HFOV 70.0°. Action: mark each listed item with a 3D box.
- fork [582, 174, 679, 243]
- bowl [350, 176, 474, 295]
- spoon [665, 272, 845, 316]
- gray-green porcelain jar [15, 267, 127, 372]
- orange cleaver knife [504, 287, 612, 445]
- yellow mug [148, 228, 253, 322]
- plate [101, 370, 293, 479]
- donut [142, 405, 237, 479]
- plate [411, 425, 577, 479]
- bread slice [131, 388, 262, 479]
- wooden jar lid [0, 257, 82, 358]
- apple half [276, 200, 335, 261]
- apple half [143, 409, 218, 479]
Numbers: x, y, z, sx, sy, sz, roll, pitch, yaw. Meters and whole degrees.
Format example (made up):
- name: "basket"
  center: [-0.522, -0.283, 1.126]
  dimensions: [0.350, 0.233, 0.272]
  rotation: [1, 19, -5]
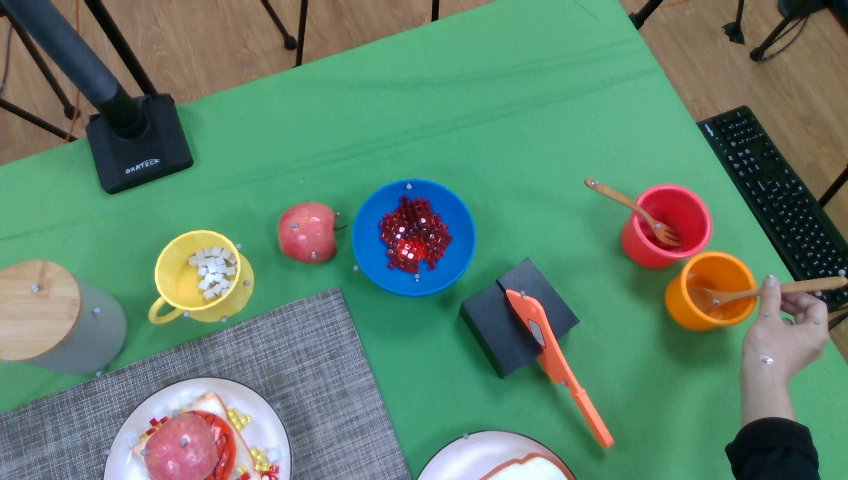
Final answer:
- name: "fork"
  center: [0.259, -0.037, 0.745]
  dimensions: [0.209, 0.018, 0.028]
  rotation: [25, 65, -38]
- name: "bowl"
  center: [-0.015, 0.004, 0.758]
  dimensions: [0.151, 0.077, 0.150]
  rotation: [1, 71, -1]
- name: "spoon"
  center: [0.380, 0.060, 0.711]
  dimensions: [0.022, 0.193, 0.041]
  rotation: [25, 61, -37]
- name: "gray-green porcelain jar"
  center: [-0.411, 0.092, 0.689]
  dimensions: [0.106, 0.127, 0.105]
  rotation: [1, 70, -2]
- name: "orange cleaver knife"
  center: [0.155, 0.146, 0.713]
  dimensions: [0.012, 0.077, 0.212]
  rotation: [-31, 96, -19]
- name: "yellow mug"
  center: [-0.279, 0.053, 0.739]
  dimensions: [0.131, 0.064, 0.099]
  rotation: [-43, 77, -14]
- name: "plate"
  center: [-0.250, 0.253, 0.682]
  dimensions: [0.208, 0.039, 0.206]
  rotation: [1, 71, -2]
- name: "donut"
  center: [-0.254, 0.230, 0.660]
  dimensions: [0.099, 0.048, 0.098]
  rotation: [0, 71, -1]
- name: "plate"
  center: [0.079, 0.315, 0.676]
  dimensions: [0.209, 0.038, 0.207]
  rotation: [1, 71, -1]
- name: "bread slice"
  center: [-0.246, 0.250, 0.684]
  dimensions: [0.107, 0.018, 0.133]
  rotation: [-38, 78, -13]
- name: "wooden jar lid"
  center: [-0.410, 0.071, 0.629]
  dimensions: [0.108, 0.021, 0.107]
  rotation: [1, 68, -3]
- name: "apple half"
  center: [-0.152, -0.017, 0.775]
  dimensions: [0.074, 0.053, 0.080]
  rotation: [0, 71, 1]
- name: "apple half"
  center: [-0.256, 0.217, 0.626]
  dimensions: [0.081, 0.033, 0.081]
  rotation: [-2, 70, 5]
